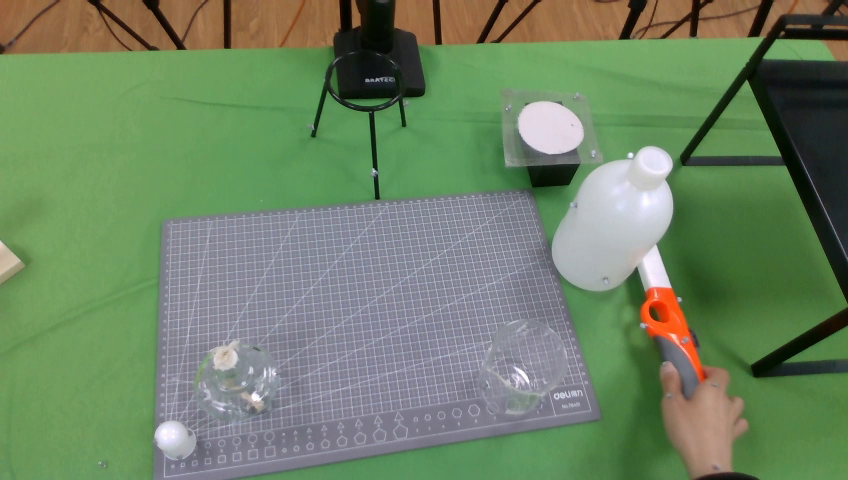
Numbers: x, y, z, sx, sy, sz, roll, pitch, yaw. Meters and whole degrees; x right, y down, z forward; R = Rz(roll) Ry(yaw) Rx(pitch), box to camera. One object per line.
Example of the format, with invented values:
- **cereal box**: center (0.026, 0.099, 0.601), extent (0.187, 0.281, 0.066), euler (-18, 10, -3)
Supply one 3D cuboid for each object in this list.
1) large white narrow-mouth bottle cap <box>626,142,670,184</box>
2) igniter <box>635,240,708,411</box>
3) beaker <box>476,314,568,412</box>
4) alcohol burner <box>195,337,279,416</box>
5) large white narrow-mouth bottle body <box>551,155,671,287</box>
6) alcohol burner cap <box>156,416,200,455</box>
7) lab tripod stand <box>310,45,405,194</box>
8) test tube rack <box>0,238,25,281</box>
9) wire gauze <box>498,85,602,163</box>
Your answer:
- **large white narrow-mouth bottle cap**: center (0.216, -0.075, 0.586), extent (0.038, 0.024, 0.037), euler (3, 60, -5)
- **igniter**: center (0.268, 0.062, 0.696), extent (0.057, 0.025, 0.273), euler (3, 54, -10)
- **beaker**: center (0.091, 0.129, 0.609), extent (0.084, 0.101, 0.073), euler (-9, 61, -10)
- **alcohol burner**: center (-0.178, 0.123, 0.571), extent (0.078, 0.120, 0.077), euler (4, 59, -6)
- **large white narrow-mouth bottle body**: center (0.208, -0.031, 0.660), extent (0.102, 0.196, 0.101), euler (3, 60, -4)
- **alcohol burner cap**: center (-0.234, 0.183, 0.571), extent (0.034, 0.048, 0.033), euler (2, 62, -4)
- **lab tripod stand**: center (-0.070, -0.150, 0.729), extent (0.149, 0.132, 0.147), euler (4, 61, -7)
- **test tube rack**: center (-0.532, 0.062, 0.580), extent (0.066, 0.086, 0.242), euler (38, 63, 14)
- **wire gauze**: center (0.157, -0.148, 0.771), extent (0.122, 0.011, 0.124), euler (1, 60, -6)
